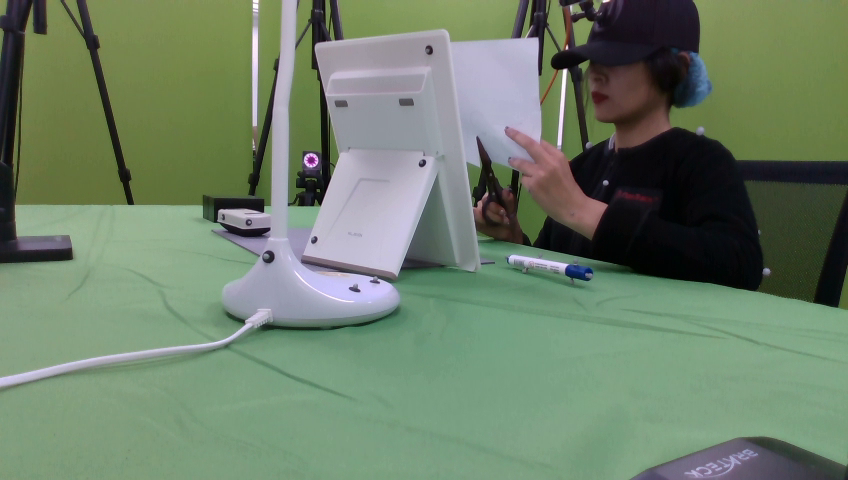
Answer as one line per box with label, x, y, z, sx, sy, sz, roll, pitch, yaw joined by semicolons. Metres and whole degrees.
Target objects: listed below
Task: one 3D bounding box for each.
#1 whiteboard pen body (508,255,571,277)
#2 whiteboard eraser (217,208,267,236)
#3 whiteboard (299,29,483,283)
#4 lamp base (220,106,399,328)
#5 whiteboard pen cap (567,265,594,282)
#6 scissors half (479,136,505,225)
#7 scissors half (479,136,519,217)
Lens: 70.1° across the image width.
whiteboard pen body;0.155;0.034;0.772;0.017;0.017;0.140;-2;7;-31
whiteboard eraser;-0.309;-0.031;1.044;0.056;0.042;0.112;-2;9;-40
whiteboard;-0.074;-0.082;0.742;0.216;0.305;0.144;9;29;38
lamp base;-0.102;-0.023;0.531;0.160;0.180;0.179;4;10;10
whiteboard pen cap;0.185;0.040;0.722;0.018;0.018;0.033;-3;7;-33
scissors half;0.113;-0.100;1.056;0.040;0.175;0.013;-27;32;-22
scissors half;0.130;-0.111;1.061;0.040;0.176;0.012;-38;36;-9
